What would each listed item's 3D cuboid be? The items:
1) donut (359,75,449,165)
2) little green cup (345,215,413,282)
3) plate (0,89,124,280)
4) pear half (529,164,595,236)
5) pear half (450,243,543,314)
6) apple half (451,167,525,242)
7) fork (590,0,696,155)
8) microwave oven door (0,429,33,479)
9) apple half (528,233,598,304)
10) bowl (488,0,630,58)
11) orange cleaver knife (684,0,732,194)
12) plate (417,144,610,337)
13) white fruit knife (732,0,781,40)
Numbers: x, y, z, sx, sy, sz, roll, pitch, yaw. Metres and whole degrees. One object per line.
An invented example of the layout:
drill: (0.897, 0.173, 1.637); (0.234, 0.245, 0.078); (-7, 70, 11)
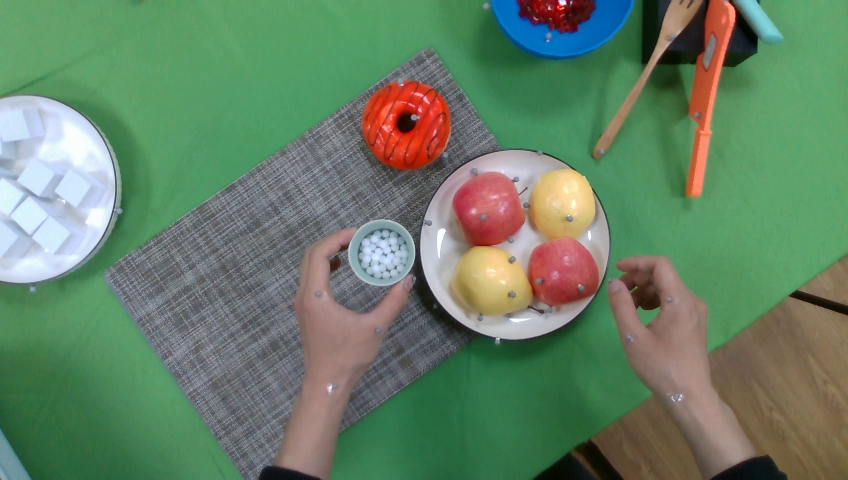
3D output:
donut: (-0.022, -0.131, 0.663); (0.099, 0.048, 0.099); (0, 91, 3)
little green cup: (-0.040, 0.010, 0.560); (0.061, 0.039, 0.061); (0, 82, 2)
plate: (-0.433, -0.060, 0.672); (0.208, 0.039, 0.207); (0, 90, 0)
pear half: (0.145, -0.037, 0.651); (0.070, 0.031, 0.088); (0, 103, 25)
pear half: (0.085, 0.049, 0.651); (0.110, 0.056, 0.076); (27, 94, -5)
apple half: (0.068, -0.037, 0.648); (0.074, 0.053, 0.081); (-17, 93, 1)
fork: (0.233, -0.183, 0.645); (0.028, 0.018, 0.208); (23, 110, -7)
microwave oven door: (-0.404, 0.335, 0.550); (0.039, 0.244, 0.355); (-33, 89, 0)
apple half: (0.143, 0.032, 0.647); (0.081, 0.033, 0.081); (4, 100, 23)
bowl: (0.137, -0.262, 0.650); (0.151, 0.077, 0.151); (0, 90, 0)
orange cleaver knife: (0.296, -0.155, 0.647); (0.012, 0.076, 0.213); (2, 115, 5)
plate: (0.097, 0.001, 0.665); (0.209, 0.038, 0.209); (0, 90, 0)
white fruit knife: (0.305, -0.293, 0.631); (0.027, 0.016, 0.207); (-32, 87, -29)
